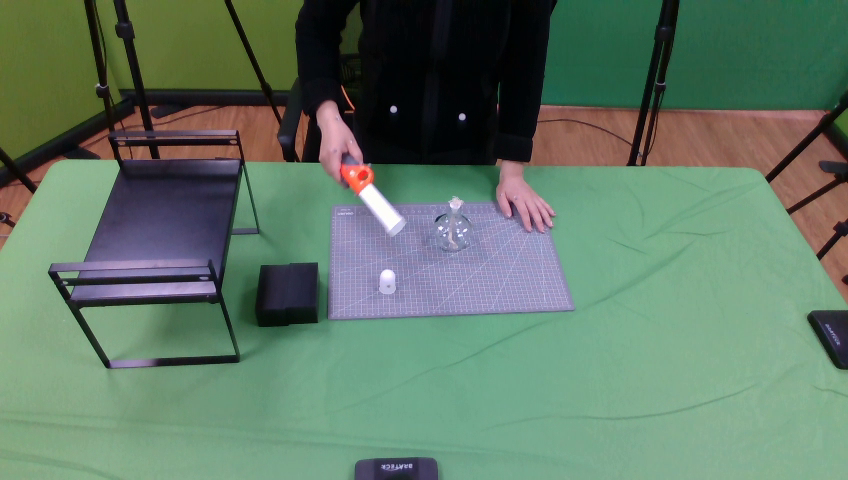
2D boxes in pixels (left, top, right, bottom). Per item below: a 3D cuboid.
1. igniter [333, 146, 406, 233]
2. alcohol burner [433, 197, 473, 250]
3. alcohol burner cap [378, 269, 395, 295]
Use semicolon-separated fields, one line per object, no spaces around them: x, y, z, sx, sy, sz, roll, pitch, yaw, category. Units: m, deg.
-0.106;-0.099;1.100;0.057;0.025;0.274;-43;46;3;igniter
0.058;-0.038;1.169;0.078;0.119;0.077;3;45;-3;alcohol burner
-0.068;0.073;1.103;0.034;0.048;0.033;3;45;-3;alcohol burner cap
